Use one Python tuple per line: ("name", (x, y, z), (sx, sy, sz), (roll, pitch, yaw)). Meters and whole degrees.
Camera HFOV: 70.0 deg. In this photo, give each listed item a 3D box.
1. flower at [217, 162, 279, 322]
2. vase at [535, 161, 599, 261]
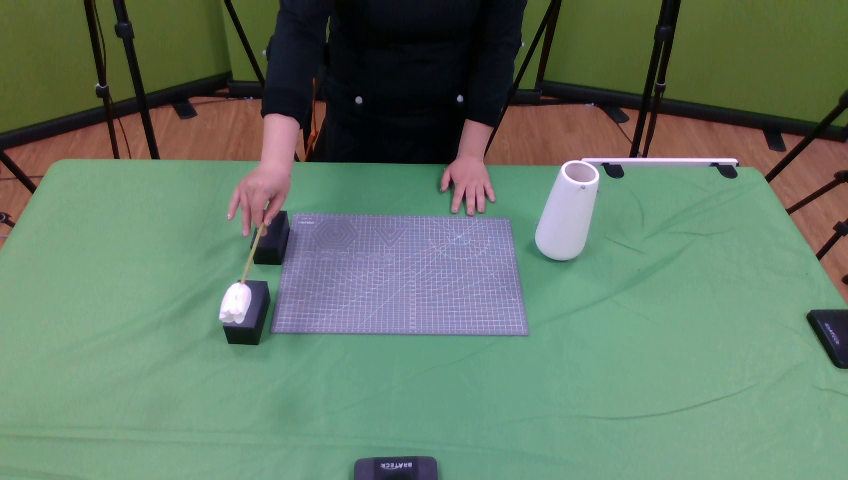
("flower", (-0.277, -0.015, 0.999), (0.044, 0.038, 0.359), (-29, 38, 28))
("vase", (0.271, -0.051, 1.145), (0.098, 0.201, 0.097), (1, 46, -1))
